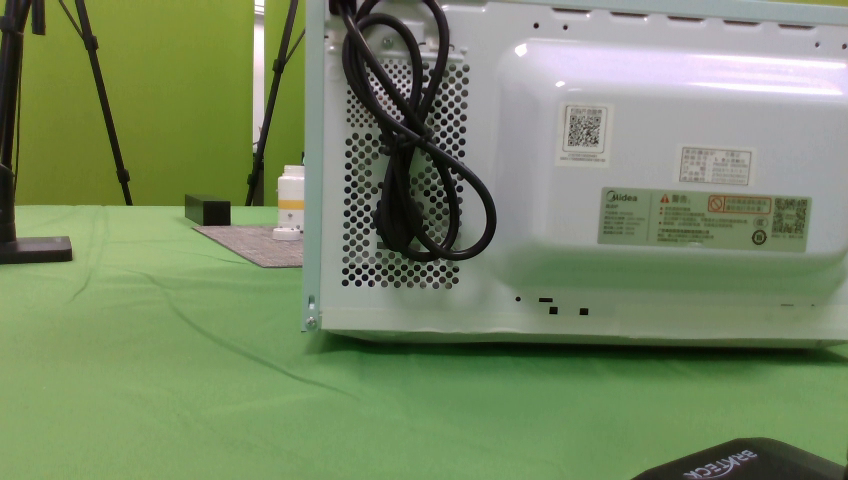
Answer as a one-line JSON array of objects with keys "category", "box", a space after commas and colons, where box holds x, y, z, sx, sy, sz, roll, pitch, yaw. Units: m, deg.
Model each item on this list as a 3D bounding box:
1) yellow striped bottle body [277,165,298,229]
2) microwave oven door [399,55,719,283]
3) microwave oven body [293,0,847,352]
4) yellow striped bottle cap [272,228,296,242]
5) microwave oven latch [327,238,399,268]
[{"category": "yellow striped bottle body", "box": [-0.240, -0.078, 1.120, 0.063, 0.120, 0.063, 2, 7, 0]}, {"category": "microwave oven door", "box": [0.155, -0.078, 0.698, 0.356, 0.243, 0.039, 2, 8, -5]}, {"category": "microwave oven body", "box": [0.122, -0.055, 0.550, 0.442, 0.260, 0.325, 3, 7, -5]}, {"category": "yellow striped bottle cap", "box": [-0.232, -0.008, 1.011, 0.044, 0.018, 0.044, 4, 7, 0]}, {"category": "microwave oven latch", "box": [-0.069, 0.015, 0.694, 0.079, 0.029, 0.030, 3, 7, -3]}]
